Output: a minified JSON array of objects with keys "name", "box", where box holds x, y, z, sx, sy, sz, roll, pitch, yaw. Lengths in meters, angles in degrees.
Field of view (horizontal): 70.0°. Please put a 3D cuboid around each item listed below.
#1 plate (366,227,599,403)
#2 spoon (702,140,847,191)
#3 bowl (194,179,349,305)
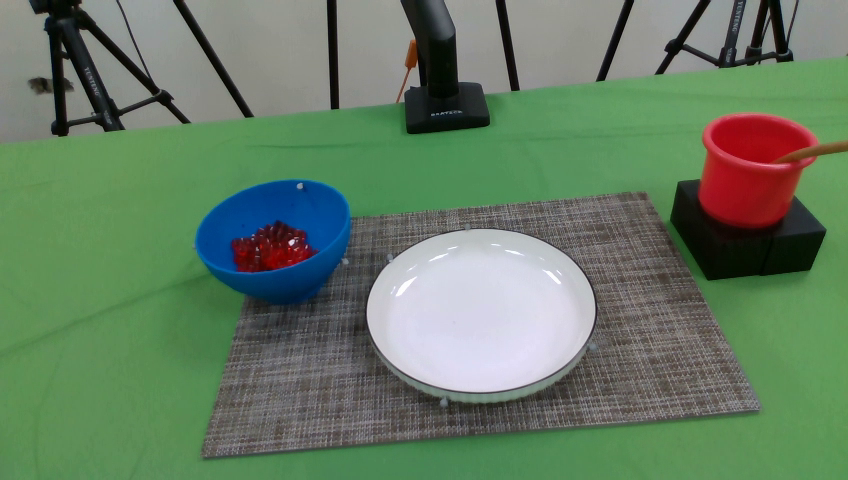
[{"name":"plate","box":[0.052,0.066,0.557,0.207,0.039,0.205,-4,40,3]},{"name":"spoon","box":[0.316,-0.067,0.525,0.042,0.021,0.193,-20,-2,-16]},{"name":"bowl","box":[-0.145,0.012,0.615,0.151,0.077,0.150,-4,40,3]}]
